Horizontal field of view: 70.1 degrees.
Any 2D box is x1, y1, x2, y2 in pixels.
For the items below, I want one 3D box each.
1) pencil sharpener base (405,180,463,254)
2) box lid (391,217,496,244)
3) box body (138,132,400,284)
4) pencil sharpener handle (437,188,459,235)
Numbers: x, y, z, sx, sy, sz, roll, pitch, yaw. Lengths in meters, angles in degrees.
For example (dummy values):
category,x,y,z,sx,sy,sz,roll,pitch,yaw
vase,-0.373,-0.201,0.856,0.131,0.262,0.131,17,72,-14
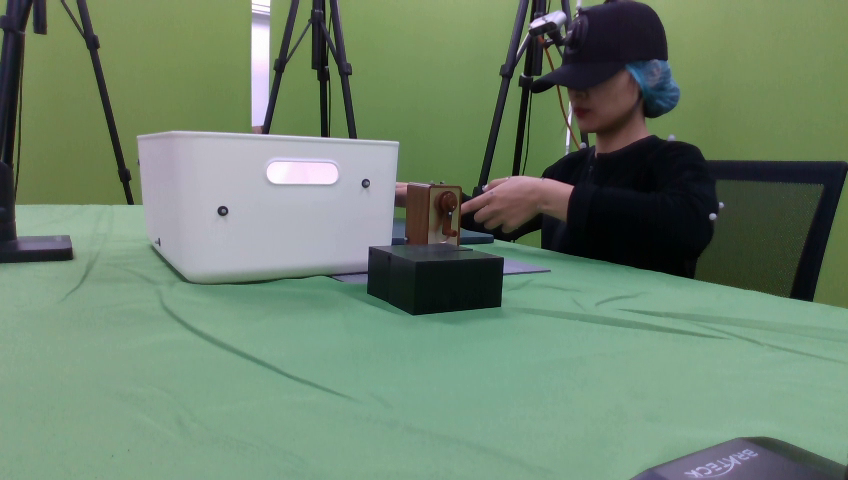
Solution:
category,x,y,z,sx,sy,sz,roll,pitch,yaw
pencil sharpener base,0.016,-0.035,0.922,0.061,0.107,0.076,-1,9,-30
box lid,-0.061,-0.021,1.188,0.265,0.015,0.369,-2,8,-32
box body,-0.223,-0.056,0.807,0.255,0.160,0.362,-3,9,-31
pencil sharpener handle,0.041,-0.041,0.876,0.036,0.067,0.030,1,7,-30
